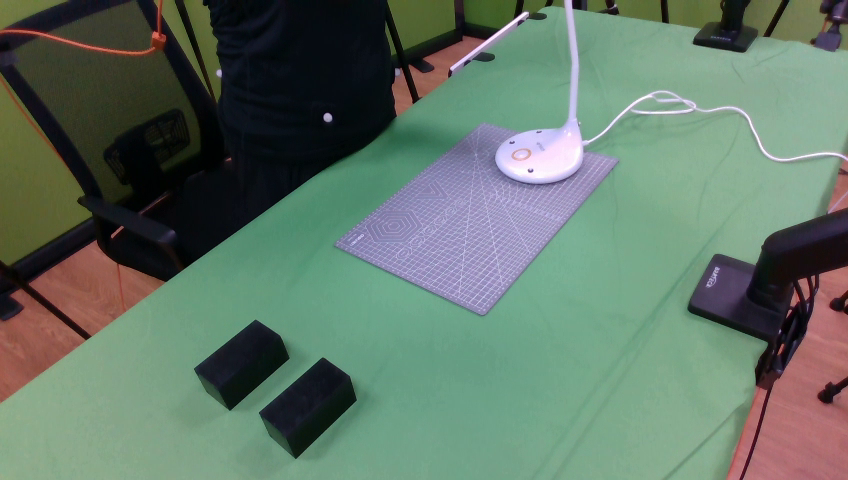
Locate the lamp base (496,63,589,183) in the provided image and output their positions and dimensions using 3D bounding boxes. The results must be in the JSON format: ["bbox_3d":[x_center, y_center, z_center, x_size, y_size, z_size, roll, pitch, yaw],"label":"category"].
[{"bbox_3d":[0.216,-0.217,1.067,0.180,0.181,0.159,-19,42,-18],"label":"lamp base"}]
